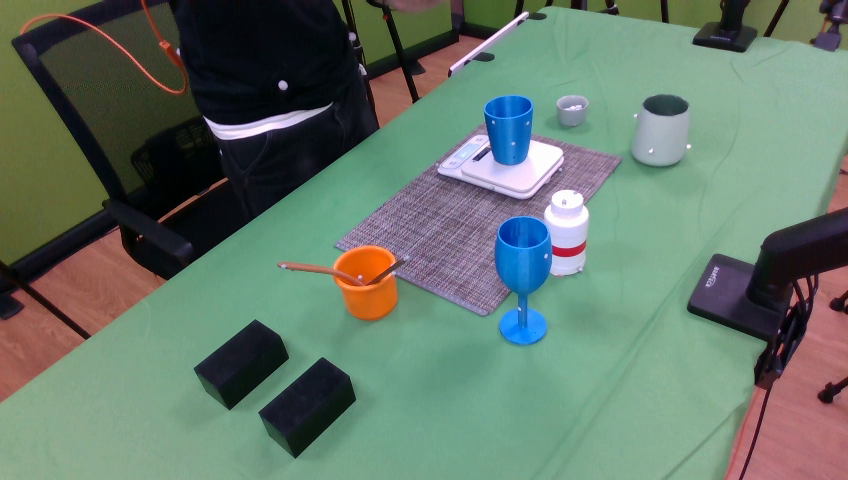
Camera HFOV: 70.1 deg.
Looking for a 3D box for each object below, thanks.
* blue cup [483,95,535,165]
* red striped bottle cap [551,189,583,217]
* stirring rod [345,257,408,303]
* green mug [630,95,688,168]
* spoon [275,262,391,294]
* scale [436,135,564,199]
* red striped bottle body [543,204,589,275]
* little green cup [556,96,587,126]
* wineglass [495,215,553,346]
[{"bbox_3d":[0.148,-0.188,1.053,0.092,0.100,0.092,-6,39,5],"label":"blue cup"},{"bbox_3d":[0.200,-0.052,0.843,0.044,0.018,0.044,-2,42,2],"label":"red striped bottle cap"},{"bbox_3d":[-0.067,0.057,0.815,0.014,0.175,0.006,-24,82,-38],"label":"stirring rod"},{"bbox_3d":[0.421,-0.201,1.081,0.092,0.105,0.125,5,42,15],"label":"green mug"},{"bbox_3d":[-0.120,0.050,0.830,0.041,0.195,0.021,32,97,45],"label":"spoon"},{"bbox_3d":[0.137,-0.142,1.101,0.199,0.032,0.149,22,48,30],"label":"scale"},{"bbox_3d":[0.206,-0.011,0.877,0.063,0.120,0.062,-5,41,4],"label":"red striped bottle body"},{"bbox_3d":[0.295,-0.258,1.214,0.061,0.039,0.061,-4,42,4],"label":"little green cup"},{"bbox_3d":[0.127,0.054,0.770,0.074,0.173,0.073,-4,40,4],"label":"wineglass"}]
